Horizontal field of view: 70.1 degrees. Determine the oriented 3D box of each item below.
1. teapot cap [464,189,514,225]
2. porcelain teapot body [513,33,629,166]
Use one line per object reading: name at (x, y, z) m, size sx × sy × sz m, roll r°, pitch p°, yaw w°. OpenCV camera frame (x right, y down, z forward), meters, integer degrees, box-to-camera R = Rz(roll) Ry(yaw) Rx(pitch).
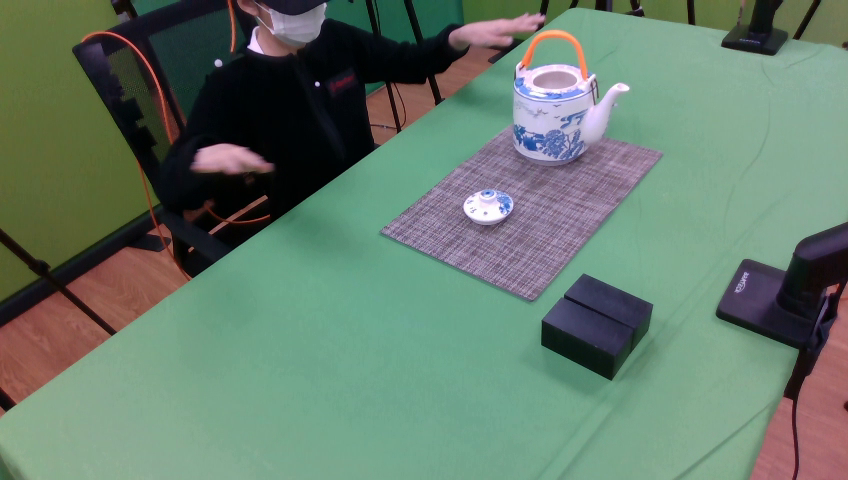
teapot cap at (0.108, -0.061, 1.009) m, size 0.085 × 0.044 × 0.085 m, roll -2°, pitch 39°, yaw 2°
porcelain teapot body at (0.256, -0.248, 1.065) m, size 0.204 × 0.226 × 0.145 m, roll 18°, pitch 47°, yaw 28°
